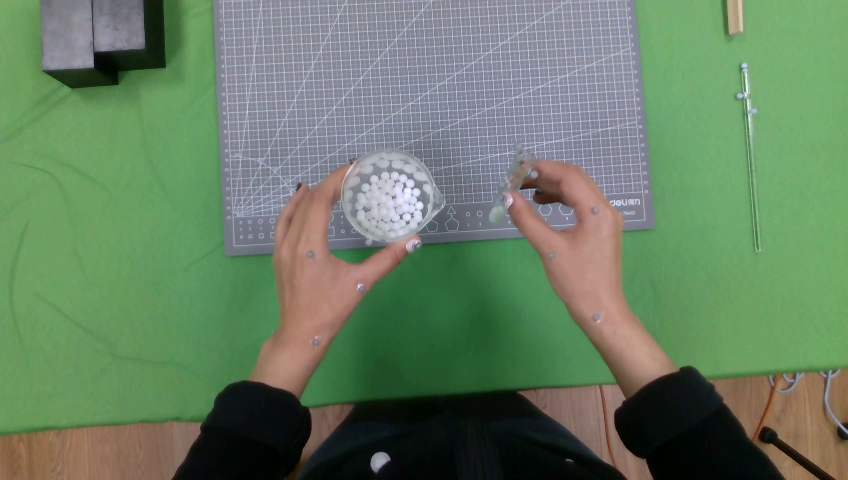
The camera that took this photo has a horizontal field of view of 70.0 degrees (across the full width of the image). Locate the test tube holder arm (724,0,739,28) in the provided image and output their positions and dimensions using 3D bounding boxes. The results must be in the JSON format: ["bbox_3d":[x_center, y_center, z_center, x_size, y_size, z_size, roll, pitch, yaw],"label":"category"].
[{"bbox_3d":[0.332,-0.319,0.655,0.013,0.015,0.178,4,86,-31],"label":"test tube holder arm"}]

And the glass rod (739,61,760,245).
[{"bbox_3d":[0.348,-0.094,0.649,0.008,0.008,0.199,-3,86,-2],"label":"glass rod"}]

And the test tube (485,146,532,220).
[{"bbox_3d":[0.068,-0.043,0.513,0.017,0.151,0.017,1,75,-2],"label":"test tube"}]

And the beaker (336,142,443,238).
[{"bbox_3d":[-0.029,-0.038,0.517,0.084,0.100,0.074,6,89,-4],"label":"beaker"}]
